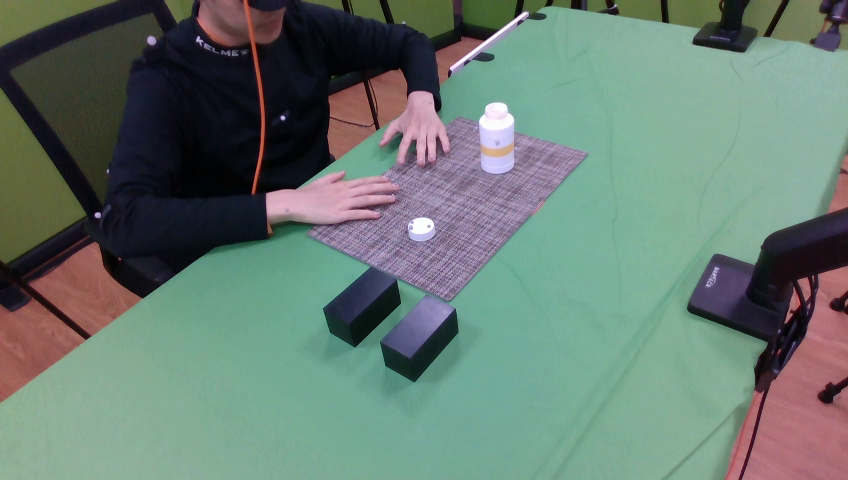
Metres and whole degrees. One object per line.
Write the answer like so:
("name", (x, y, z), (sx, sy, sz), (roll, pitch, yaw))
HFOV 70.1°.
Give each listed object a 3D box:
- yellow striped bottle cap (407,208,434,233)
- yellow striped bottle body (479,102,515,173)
("yellow striped bottle cap", (-0.006, -0.032, 0.971), (0.044, 0.019, 0.044), (2, 44, -2))
("yellow striped bottle body", (0.131, -0.186, 1.083), (0.063, 0.121, 0.062), (-4, 41, 4))
